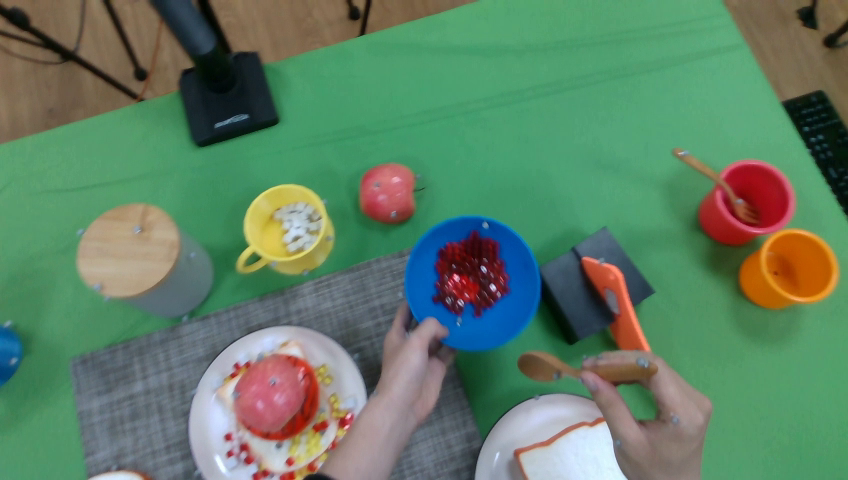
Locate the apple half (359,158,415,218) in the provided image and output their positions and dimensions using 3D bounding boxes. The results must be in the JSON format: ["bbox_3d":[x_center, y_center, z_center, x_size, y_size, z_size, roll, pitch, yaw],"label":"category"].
[{"bbox_3d":[-0.050,-0.073,0.793,0.074,0.053,0.080,3,73,4],"label":"apple half"}]

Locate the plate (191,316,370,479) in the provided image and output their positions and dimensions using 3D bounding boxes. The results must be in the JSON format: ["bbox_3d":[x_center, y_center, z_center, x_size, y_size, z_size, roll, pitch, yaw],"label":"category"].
[{"bbox_3d":[-0.166,0.195,0.715,0.208,0.039,0.206,0,73,0],"label":"plate"}]

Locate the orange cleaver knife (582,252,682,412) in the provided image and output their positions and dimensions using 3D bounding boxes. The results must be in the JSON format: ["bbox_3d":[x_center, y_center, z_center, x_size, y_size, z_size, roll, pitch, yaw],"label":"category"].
[{"bbox_3d":[0.245,0.107,0.721,0.012,0.077,0.212,-29,97,-15],"label":"orange cleaver knife"}]

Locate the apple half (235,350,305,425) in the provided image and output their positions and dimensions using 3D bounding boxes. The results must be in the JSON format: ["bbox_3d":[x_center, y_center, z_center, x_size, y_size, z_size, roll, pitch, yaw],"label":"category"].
[{"bbox_3d":[-0.170,0.160,0.658,0.081,0.033,0.081,-2,71,7],"label":"apple half"}]

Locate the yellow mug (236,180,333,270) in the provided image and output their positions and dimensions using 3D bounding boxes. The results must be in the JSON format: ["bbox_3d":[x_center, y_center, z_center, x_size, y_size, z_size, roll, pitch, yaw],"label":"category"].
[{"bbox_3d":[-0.182,-0.009,0.767,0.131,0.064,0.099,-40,77,-10],"label":"yellow mug"}]

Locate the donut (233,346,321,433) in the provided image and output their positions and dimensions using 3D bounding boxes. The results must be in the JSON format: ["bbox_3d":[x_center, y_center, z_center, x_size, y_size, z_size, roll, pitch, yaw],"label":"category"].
[{"bbox_3d":[-0.167,0.171,0.693,0.099,0.048,0.098,0,74,1],"label":"donut"}]

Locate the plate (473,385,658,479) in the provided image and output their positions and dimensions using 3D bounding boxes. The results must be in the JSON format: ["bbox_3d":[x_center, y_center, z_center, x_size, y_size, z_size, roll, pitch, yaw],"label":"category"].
[{"bbox_3d":[0.159,0.274,0.694,0.209,0.038,0.208,0,73,0],"label":"plate"}]

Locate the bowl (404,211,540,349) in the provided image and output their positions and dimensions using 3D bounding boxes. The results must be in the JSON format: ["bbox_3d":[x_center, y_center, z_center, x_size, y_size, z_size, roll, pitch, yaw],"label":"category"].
[{"bbox_3d":[0.049,0.049,0.686,0.151,0.077,0.150,1,78,-6],"label":"bowl"}]

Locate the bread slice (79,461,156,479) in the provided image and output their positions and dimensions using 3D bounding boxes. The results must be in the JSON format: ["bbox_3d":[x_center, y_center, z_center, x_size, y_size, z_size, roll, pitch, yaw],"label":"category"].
[{"bbox_3d":[-0.352,0.321,0.688,0.105,0.019,0.130,-11,74,-4],"label":"bread slice"}]

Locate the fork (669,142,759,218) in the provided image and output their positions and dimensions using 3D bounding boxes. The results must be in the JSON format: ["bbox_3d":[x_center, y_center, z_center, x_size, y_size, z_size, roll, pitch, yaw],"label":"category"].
[{"bbox_3d":[0.360,-0.072,0.742,0.209,0.018,0.028,26,68,-36],"label":"fork"}]

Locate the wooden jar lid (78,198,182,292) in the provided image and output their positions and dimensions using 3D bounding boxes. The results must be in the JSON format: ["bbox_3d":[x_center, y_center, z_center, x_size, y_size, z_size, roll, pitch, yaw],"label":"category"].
[{"bbox_3d":[-0.319,0.006,0.664,0.108,0.021,0.107,0,70,-1],"label":"wooden jar lid"}]

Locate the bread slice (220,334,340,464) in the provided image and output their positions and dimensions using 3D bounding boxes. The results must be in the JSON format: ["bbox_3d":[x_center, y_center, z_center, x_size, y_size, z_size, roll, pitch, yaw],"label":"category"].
[{"bbox_3d":[-0.161,0.192,0.717,0.107,0.018,0.133,-35,75,-9],"label":"bread slice"}]

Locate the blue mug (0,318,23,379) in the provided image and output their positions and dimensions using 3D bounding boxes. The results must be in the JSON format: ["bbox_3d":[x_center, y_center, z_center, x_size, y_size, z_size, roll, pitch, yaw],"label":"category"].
[{"bbox_3d":[-0.543,0.137,0.701,0.082,0.106,0.116,2,73,1],"label":"blue mug"}]

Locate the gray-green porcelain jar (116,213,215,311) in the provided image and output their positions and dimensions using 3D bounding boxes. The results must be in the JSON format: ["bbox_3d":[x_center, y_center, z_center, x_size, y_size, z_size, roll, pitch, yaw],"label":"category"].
[{"bbox_3d":[-0.317,0.026,0.725,0.106,0.127,0.105,0,72,0],"label":"gray-green porcelain jar"}]

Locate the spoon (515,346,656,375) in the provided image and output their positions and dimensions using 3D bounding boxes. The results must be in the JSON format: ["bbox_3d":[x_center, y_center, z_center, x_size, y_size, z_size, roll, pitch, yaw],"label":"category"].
[{"bbox_3d":[0.127,0.102,0.498,0.042,0.193,0.021,39,74,-7],"label":"spoon"}]
